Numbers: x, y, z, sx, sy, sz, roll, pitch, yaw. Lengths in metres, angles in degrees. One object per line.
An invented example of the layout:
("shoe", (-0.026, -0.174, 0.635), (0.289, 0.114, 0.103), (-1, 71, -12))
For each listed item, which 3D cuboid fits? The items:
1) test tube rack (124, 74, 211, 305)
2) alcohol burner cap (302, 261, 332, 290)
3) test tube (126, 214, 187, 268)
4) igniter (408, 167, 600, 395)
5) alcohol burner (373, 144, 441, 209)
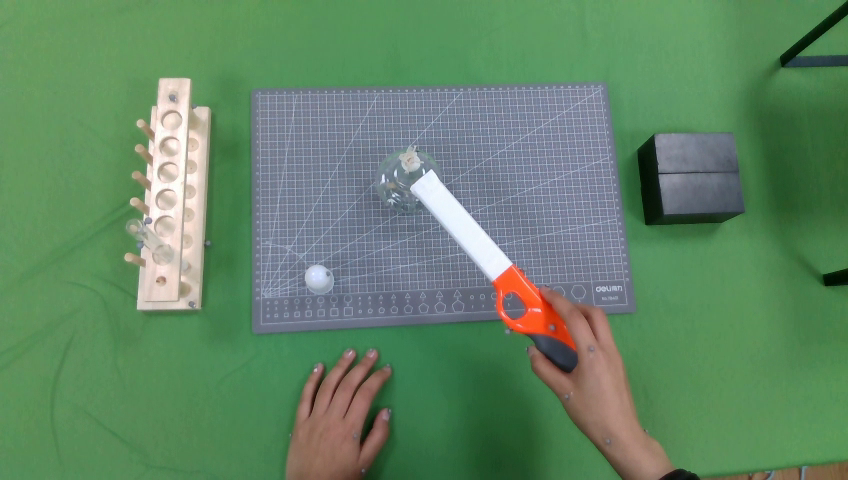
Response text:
("test tube rack", (-0.286, -0.053, 0.669), (0.067, 0.085, 0.241), (0, 79, -4))
("alcohol burner cap", (-0.122, 0.038, 0.683), (0.034, 0.048, 0.033), (1, 78, -5))
("test tube", (-0.265, 0.004, 0.609), (0.017, 0.151, 0.017), (2, 74, -6))
("igniter", (0.083, 0.040, 0.611), (0.057, 0.025, 0.276), (-40, 87, -3))
("alcohol burner", (-0.018, -0.076, 0.679), (0.078, 0.119, 0.077), (1, 79, -4))
